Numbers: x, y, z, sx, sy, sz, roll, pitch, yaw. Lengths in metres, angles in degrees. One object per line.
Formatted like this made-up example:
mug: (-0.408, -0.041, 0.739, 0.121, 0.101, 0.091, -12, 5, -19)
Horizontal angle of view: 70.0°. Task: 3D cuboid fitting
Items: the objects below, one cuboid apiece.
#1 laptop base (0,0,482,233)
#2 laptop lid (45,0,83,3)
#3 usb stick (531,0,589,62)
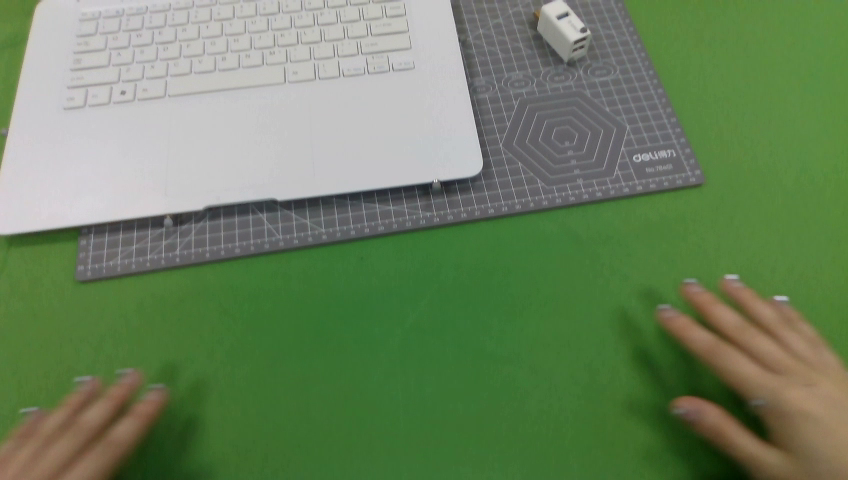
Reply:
laptop base: (-0.146, -0.126, 0.485, 0.354, 0.023, 0.233, -7, 65, -3)
laptop lid: (-0.170, -0.322, 0.468, 0.357, 0.244, 0.013, -8, 37, -2)
usb stick: (0.110, -0.177, 0.501, 0.021, 0.027, 0.058, -26, 62, -11)
